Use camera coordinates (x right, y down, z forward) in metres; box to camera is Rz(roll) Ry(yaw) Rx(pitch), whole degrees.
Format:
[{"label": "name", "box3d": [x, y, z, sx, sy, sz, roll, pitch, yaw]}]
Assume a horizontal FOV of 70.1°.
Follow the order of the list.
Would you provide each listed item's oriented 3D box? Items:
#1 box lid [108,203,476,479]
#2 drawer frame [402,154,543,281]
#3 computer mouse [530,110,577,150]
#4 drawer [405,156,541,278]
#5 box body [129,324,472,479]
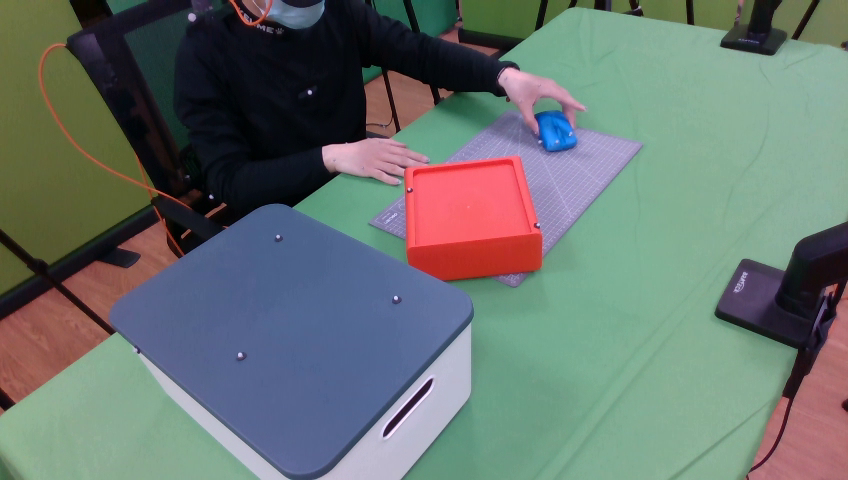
[{"label": "box lid", "box3d": [-0.156, 0.079, 0.678, 0.368, 0.015, 0.264, 24, 49, 32]}, {"label": "drawer frame", "box3d": [0.071, -0.041, 0.958, 0.202, 0.083, 0.212, -6, 41, 1]}, {"label": "computer mouse", "box3d": [0.250, -0.217, 1.174, 0.063, 0.041, 0.116, -9, 44, -7]}, {"label": "drawer", "box3d": [0.071, -0.040, 0.961, 0.194, 0.073, 0.210, -5, 41, 1]}, {"label": "box body", "box3d": [-0.147, 0.136, 0.726, 0.361, 0.161, 0.255, 24, 50, 32]}]
